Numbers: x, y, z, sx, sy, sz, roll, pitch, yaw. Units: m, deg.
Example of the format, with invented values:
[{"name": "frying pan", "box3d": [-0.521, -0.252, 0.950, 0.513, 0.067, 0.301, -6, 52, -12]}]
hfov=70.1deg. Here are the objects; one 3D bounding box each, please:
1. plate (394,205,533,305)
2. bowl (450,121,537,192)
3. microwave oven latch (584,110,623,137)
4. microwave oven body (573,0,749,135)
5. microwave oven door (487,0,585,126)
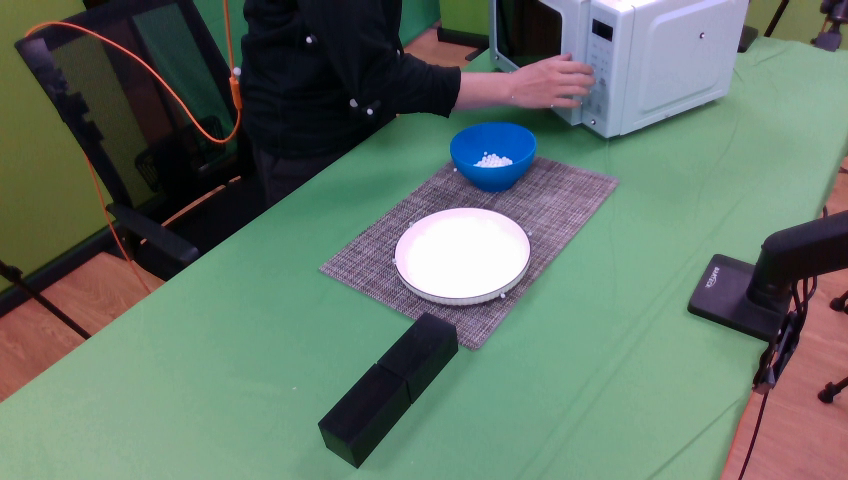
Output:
[{"name": "plate", "box3d": [0.059, 0.025, 0.915, 0.207, 0.039, 0.206, -4, 41, 4]}, {"name": "bowl", "box3d": [0.123, -0.138, 1.064, 0.151, 0.077, 0.150, -4, 40, 4]}, {"name": "microwave oven latch", "box3d": [0.337, -0.222, 1.142, 0.030, 0.029, 0.078, -21, 42, -15]}, {"name": "microwave oven body", "box3d": [0.382, -0.445, 1.246, 0.327, 0.261, 0.437, -22, 42, -16]}, {"name": "microwave oven door", "box3d": [0.222, -0.416, 1.228, 0.039, 0.245, 0.352, -20, 42, -14]}]
